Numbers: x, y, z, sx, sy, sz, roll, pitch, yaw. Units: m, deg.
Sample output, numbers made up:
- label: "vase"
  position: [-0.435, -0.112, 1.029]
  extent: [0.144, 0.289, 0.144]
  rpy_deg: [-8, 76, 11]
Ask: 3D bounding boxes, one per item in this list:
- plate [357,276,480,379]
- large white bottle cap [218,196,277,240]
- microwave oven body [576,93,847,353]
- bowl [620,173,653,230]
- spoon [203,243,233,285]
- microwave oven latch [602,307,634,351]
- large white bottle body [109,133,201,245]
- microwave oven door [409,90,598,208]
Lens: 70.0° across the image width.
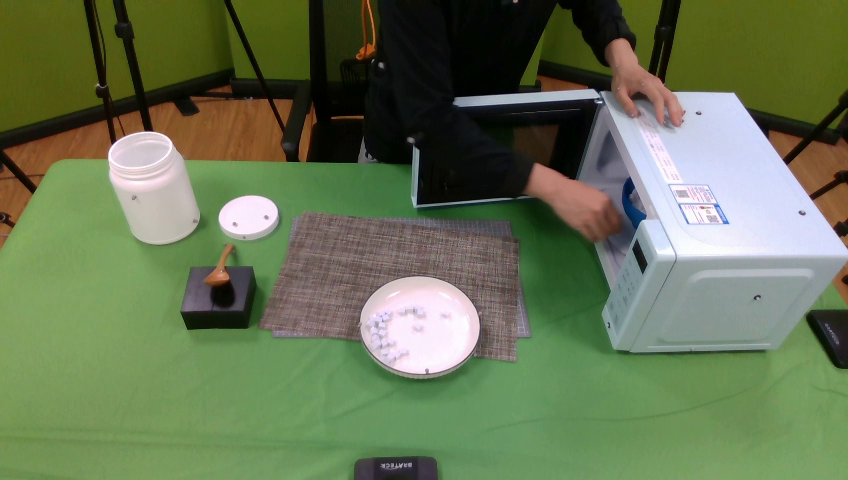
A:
- label: "plate"
  position: [-0.010, 0.151, 1.038]
  extent: [0.209, 0.038, 0.208]
  rpy_deg: [2, 47, -2]
- label: "large white bottle cap"
  position: [-0.354, -0.045, 1.220]
  extent: [0.115, 0.018, 0.114]
  rpy_deg: [2, 45, -1]
- label: "microwave oven body"
  position: [0.475, -0.041, 1.109]
  extent: [0.326, 0.261, 0.438]
  rpy_deg: [-1, 45, -4]
- label: "bowl"
  position: [0.445, -0.057, 1.164]
  extent: [0.151, 0.077, 0.150]
  rpy_deg: [1, 46, -1]
- label: "spoon"
  position: [-0.360, 0.039, 1.087]
  extent: [0.041, 0.022, 0.192]
  rpy_deg: [-5, 24, -7]
- label: "microwave oven latch"
  position: [0.332, 0.153, 1.044]
  extent: [0.030, 0.029, 0.078]
  rpy_deg: [0, 45, -4]
- label: "large white bottle body"
  position: [-0.505, -0.096, 1.141]
  extent: [0.131, 0.185, 0.130]
  rpy_deg: [1, 45, -1]
- label: "microwave oven door"
  position: [0.151, -0.179, 1.211]
  extent: [0.356, 0.245, 0.039]
  rpy_deg: [-6, 46, -10]
